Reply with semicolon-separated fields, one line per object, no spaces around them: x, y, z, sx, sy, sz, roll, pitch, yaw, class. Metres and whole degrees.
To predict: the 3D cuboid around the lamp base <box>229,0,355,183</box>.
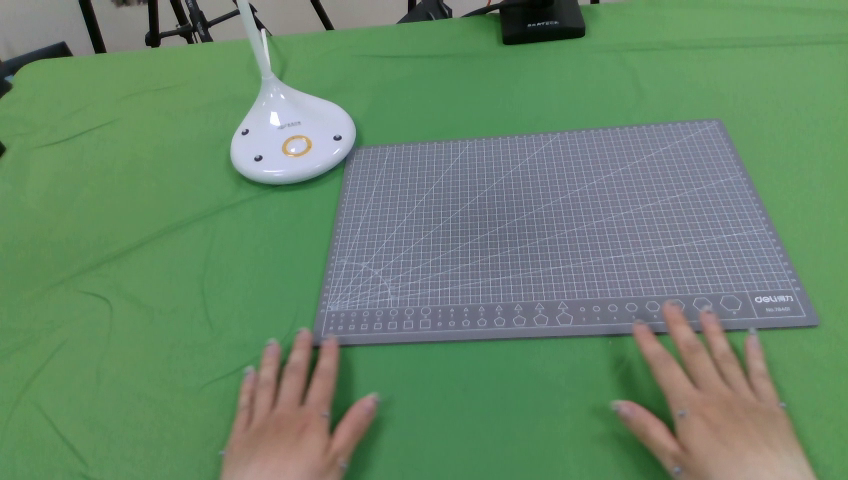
-0.183;-0.188;0.724;0.161;0.182;0.177;-25;45;-14;lamp base
